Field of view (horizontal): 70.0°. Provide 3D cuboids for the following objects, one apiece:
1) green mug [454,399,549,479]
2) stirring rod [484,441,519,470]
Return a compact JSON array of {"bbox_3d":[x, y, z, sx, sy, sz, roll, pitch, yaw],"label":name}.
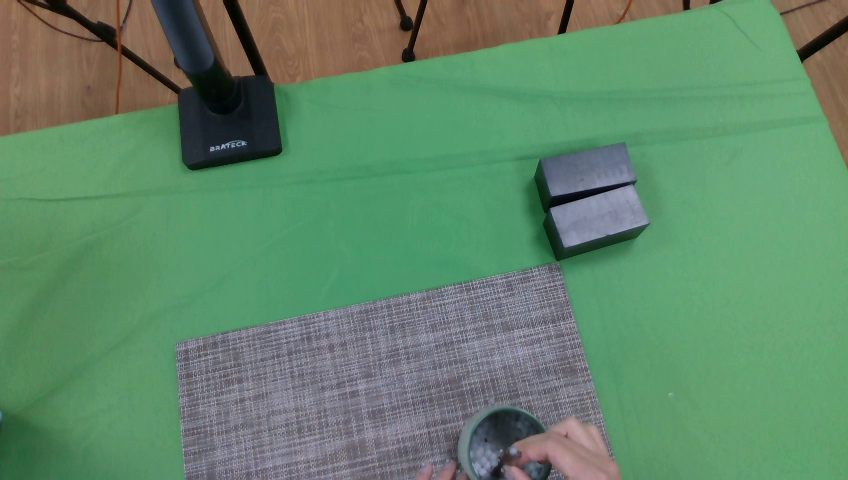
[{"bbox_3d":[0.084,0.216,0.593,0.092,0.105,0.124,-28,74,-7],"label":"green mug"},{"bbox_3d":[0.067,0.193,0.537,0.014,0.177,0.006,9,65,5],"label":"stirring rod"}]
